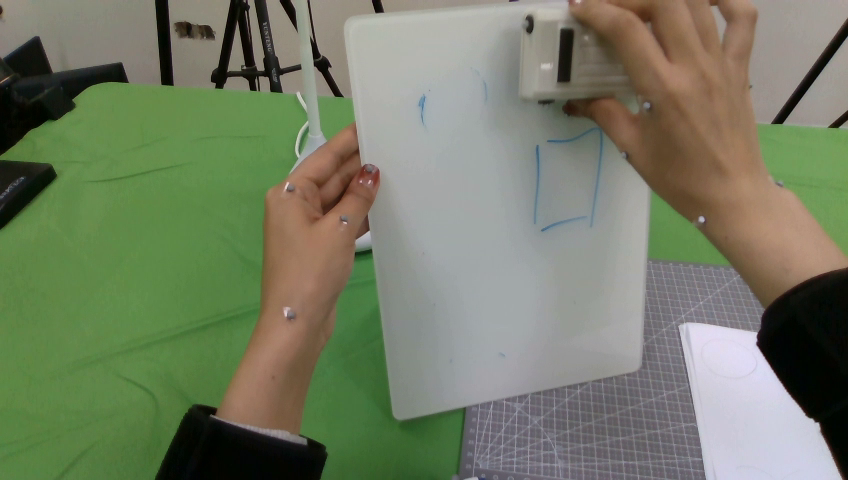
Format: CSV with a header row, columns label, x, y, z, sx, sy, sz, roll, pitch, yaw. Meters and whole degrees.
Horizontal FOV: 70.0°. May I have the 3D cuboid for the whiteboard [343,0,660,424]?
label,x,y,z,sx,sy,sz,roll,pitch,yaw
whiteboard,0.054,-0.035,0.505,0.217,0.307,0.142,-9,22,-9

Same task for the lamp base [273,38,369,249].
label,x,y,z,sx,sy,sz,roll,pitch,yaw
lamp base,-0.097,-0.109,0.643,0.161,0.182,0.177,-29,46,-29

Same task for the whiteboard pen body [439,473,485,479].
label,x,y,z,sx,sy,sz,roll,pitch,yaw
whiteboard pen body,-0.024,0.181,0.420,0.141,0.017,0.017,-6,41,-11

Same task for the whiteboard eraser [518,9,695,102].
label,x,y,z,sx,sy,sz,roll,pitch,yaw
whiteboard eraser,0.116,-0.120,0.393,0.113,0.056,0.041,-5,22,-13
